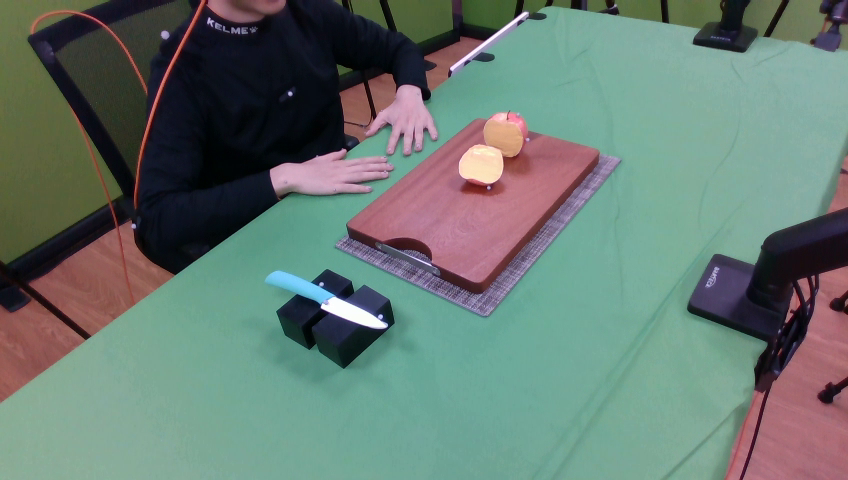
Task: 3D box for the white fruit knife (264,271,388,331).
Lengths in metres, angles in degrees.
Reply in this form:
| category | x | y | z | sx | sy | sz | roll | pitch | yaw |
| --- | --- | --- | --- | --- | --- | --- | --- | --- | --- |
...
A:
| category | x | y | z | sx | sy | sz | roll | pitch | yaw |
| --- | --- | --- | --- | --- | --- | --- | --- | --- | --- |
| white fruit knife | -0.134 | 0.082 | 0.824 | 0.206 | 0.016 | 0.027 | 20 | 70 | 25 |

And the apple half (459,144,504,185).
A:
| category | x | y | z | sx | sy | sz | roll | pitch | yaw |
| --- | --- | --- | --- | --- | --- | --- | --- | --- | --- |
| apple half | 0.102 | -0.125 | 1.040 | 0.081 | 0.033 | 0.081 | -3 | 65 | 7 |

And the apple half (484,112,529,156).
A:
| category | x | y | z | sx | sy | sz | roll | pitch | yaw |
| --- | --- | --- | --- | --- | --- | --- | --- | --- | --- |
| apple half | 0.154 | -0.195 | 1.090 | 0.080 | 0.075 | 0.053 | 13 | 40 | 28 |
